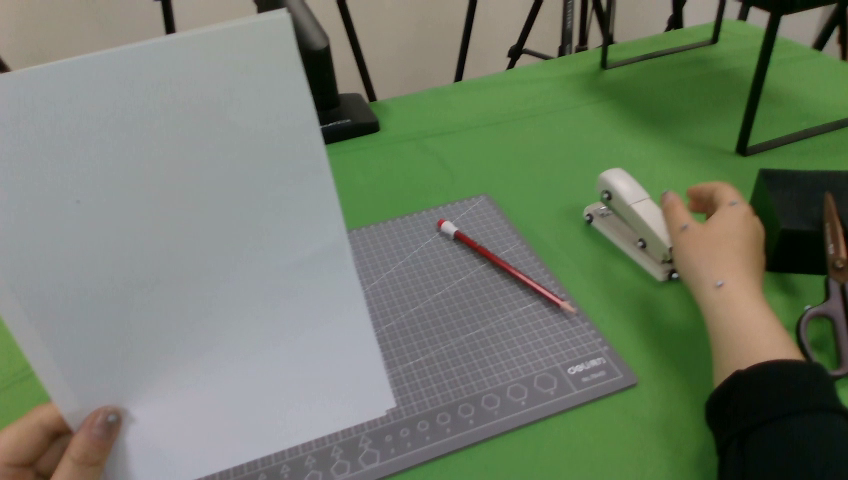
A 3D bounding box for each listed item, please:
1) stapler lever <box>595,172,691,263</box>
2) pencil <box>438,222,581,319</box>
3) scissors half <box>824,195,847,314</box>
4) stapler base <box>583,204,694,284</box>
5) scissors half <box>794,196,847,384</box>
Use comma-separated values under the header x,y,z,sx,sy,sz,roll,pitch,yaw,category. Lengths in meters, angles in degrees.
x,y,z,sx,sy,sz,roll,pitch,yaw,category
0.210,-0.026,0.589,0.027,0.040,0.116,-20,41,-15,stapler lever
0.077,0.026,0.587,0.012,0.012,0.192,-29,44,-27,pencil
0.352,0.035,0.492,0.040,0.013,0.173,-5,58,13,scissors half
0.211,-0.006,0.605,0.041,0.024,0.129,-20,41,-15,stapler base
0.333,0.035,0.499,0.040,0.013,0.174,9,62,27,scissors half
